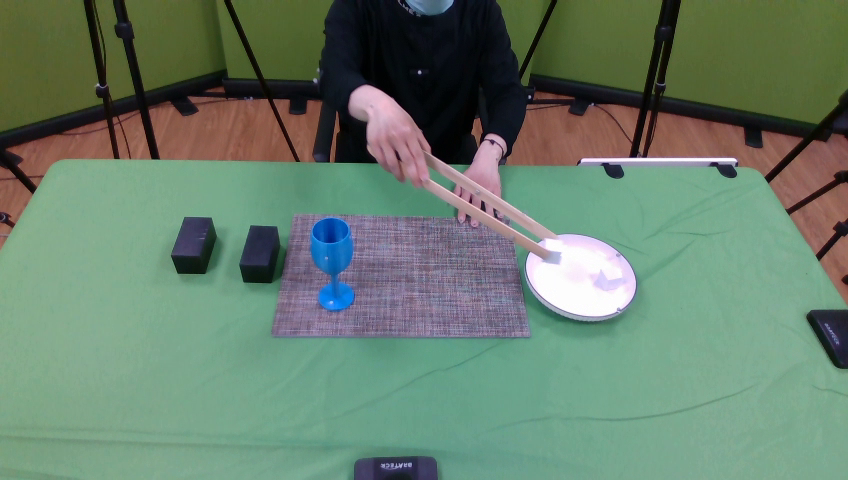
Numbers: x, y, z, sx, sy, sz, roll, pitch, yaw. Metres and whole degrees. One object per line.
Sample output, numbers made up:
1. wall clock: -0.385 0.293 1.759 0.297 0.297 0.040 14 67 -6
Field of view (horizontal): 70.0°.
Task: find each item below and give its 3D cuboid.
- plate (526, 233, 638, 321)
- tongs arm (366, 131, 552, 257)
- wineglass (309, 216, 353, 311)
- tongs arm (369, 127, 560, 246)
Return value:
1. plate: 0.292 0.071 1.135 0.209 0.038 0.208 2 46 -2
2. tongs arm: 0.051 -0.080 1.051 0.387 0.028 0.028 32 52 11
3. wineglass: -0.155 0.043 1.032 0.074 0.173 0.073 2 46 -2
4. tongs arm: 0.064 -0.094 1.068 0.384 0.026 0.050 35 49 13
